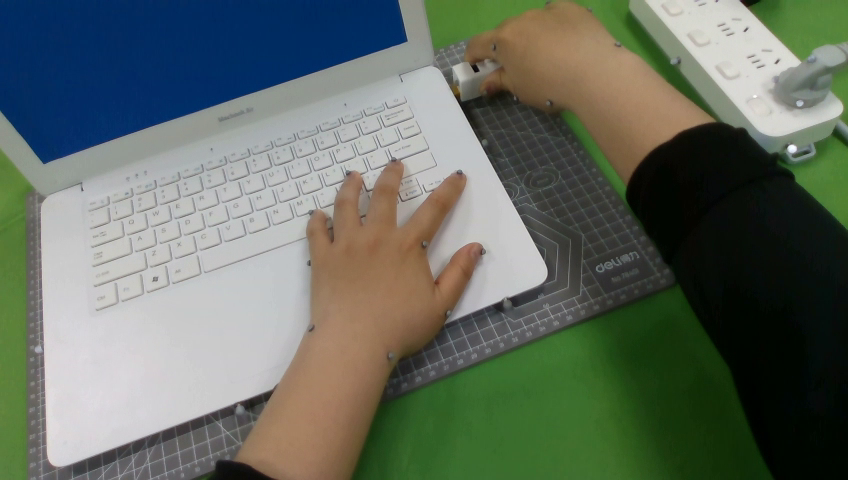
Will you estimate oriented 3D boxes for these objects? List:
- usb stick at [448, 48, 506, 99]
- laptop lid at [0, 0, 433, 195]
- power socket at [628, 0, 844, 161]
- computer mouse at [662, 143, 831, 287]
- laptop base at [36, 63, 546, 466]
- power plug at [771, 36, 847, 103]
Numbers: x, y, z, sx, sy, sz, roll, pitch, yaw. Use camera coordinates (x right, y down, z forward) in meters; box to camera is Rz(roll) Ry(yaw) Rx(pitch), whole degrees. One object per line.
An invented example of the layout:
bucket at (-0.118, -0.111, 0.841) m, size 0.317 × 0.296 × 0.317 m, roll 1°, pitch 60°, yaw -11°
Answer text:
usb stick at (0.039, -0.138, 0.512) m, size 0.059 × 0.027 × 0.021 m, roll -23°, pitch 54°, yaw -3°
laptop lid at (-0.178, -0.174, 0.440) m, size 0.357 × 0.244 × 0.013 m, roll -22°, pitch 46°, yaw -4°
power socket at (0.248, -0.158, 0.502) m, size 0.072 × 0.033 × 0.224 m, roll -19°, pitch 58°, yaw -3°
computer mouse at (0.221, -0.024, 0.420) m, size 0.063 × 0.041 × 0.116 m, roll -21°, pitch 54°, yaw -4°
laptop base at (-0.115, -0.002, 0.464) m, size 0.354 × 0.023 × 0.233 m, roll -20°, pitch 62°, yaw -5°
power plug at (0.296, -0.120, 0.448) m, size 0.072 × 0.053 × 0.035 m, roll -10°, pitch 60°, yaw 0°
